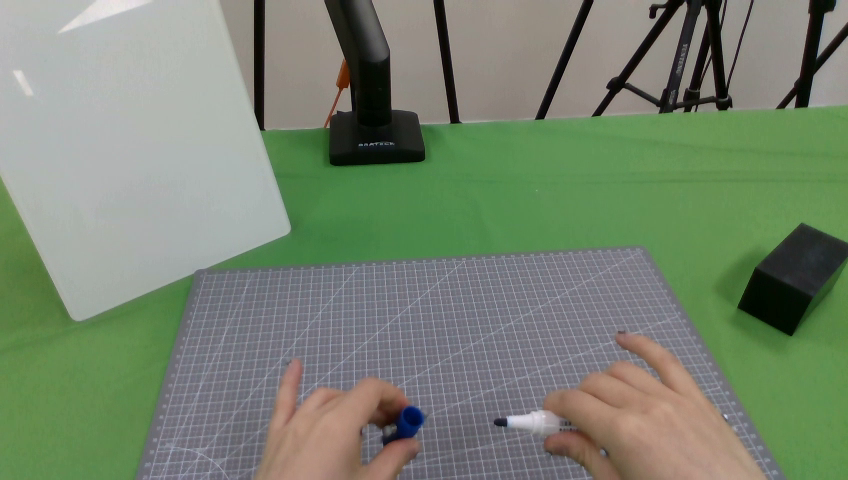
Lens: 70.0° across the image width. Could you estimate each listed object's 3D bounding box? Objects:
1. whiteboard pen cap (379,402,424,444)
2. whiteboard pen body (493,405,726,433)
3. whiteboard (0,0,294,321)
[{"bbox_3d":[-0.014,0.113,0.377,0.018,0.033,0.018,22,43,-21],"label":"whiteboard pen cap"},{"bbox_3d":[0.111,0.106,0.361,0.141,0.017,0.017,2,39,-4],"label":"whiteboard pen body"},{"bbox_3d":[-0.290,-0.121,0.578,0.217,0.307,0.142,-26,27,-29],"label":"whiteboard"}]
